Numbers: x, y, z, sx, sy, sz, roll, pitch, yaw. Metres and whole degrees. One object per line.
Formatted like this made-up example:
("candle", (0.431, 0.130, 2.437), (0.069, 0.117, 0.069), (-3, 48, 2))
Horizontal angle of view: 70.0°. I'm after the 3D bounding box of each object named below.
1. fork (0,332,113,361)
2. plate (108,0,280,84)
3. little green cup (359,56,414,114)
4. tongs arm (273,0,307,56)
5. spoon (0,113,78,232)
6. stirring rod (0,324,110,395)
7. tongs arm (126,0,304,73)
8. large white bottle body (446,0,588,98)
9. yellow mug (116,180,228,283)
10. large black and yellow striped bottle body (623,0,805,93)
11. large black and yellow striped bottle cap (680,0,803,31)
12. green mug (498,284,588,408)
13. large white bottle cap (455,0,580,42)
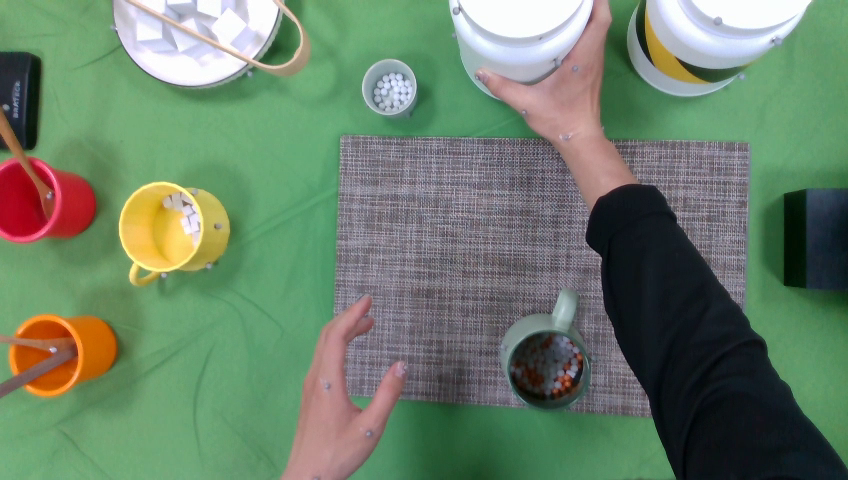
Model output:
("fork", (-0.459, 0.108, 0.672), (0.209, 0.018, 0.028), (19, 89, -37))
("plate", (-0.262, -0.283, 0.707), (0.207, 0.039, 0.207), (0, 90, 7))
("little green cup", (-0.039, -0.171, 0.680), (0.061, 0.038, 0.061), (0, 91, 6))
("tongs arm", (-0.259, -0.347, 0.677), (0.028, 0.028, 0.386), (-45, 83, -2))
("spoon", (-0.442, -0.086, 0.673), (0.041, 0.021, 0.195), (-2, 134, 6))
("stirring rod", (-0.438, 0.146, 0.675), (0.176, 0.006, 0.014), (-34, 85, -37))
("tongs arm", (-0.308, -0.280, 0.680), (0.384, 0.026, 0.051), (31, 90, 8))
("large white bottle body", (0.090, -0.224, 0.591), (0.130, 0.185, 0.130), (0, 89, 8))
("yellow mug", (-0.296, -0.004, 0.696), (0.100, 0.064, 0.131), (35, 95, 5))
("large black and yellow striped bottle body", (0.270, -0.224, 0.570), (0.130, 0.184, 0.130), (0, 89, 8))
("large black and yellow striped bottle cap", (0.259, -0.228, 0.487), (0.115, 0.019, 0.115), (0, 90, 5))
("green mug", (0.128, 0.105, 0.622), (0.092, 0.105, 0.125), (19, 92, 7))
("large white bottle cap", (0.079, -0.225, 0.507), (0.114, 0.018, 0.114), (0, 90, 7))
